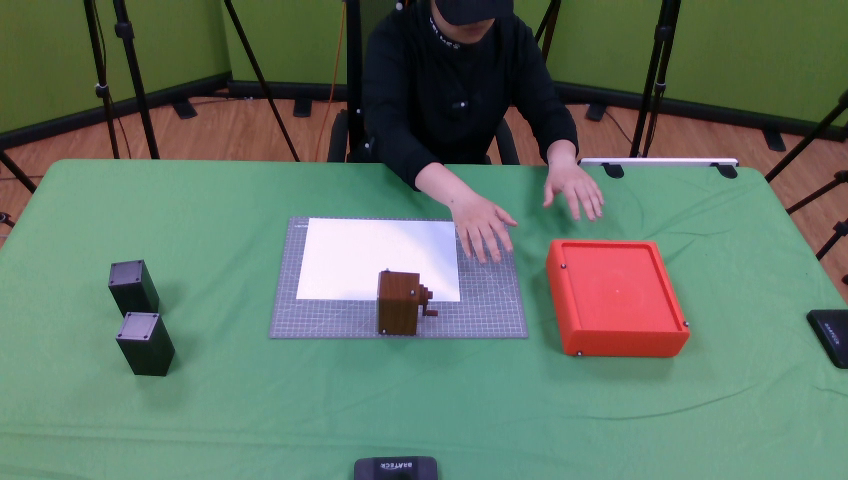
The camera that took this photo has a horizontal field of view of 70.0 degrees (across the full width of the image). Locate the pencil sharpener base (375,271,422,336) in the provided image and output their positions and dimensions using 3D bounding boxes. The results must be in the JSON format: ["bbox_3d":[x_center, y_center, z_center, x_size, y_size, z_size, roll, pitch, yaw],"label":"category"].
[{"bbox_3d":[-0.043,0.109,1.025,0.077,0.107,0.061,3,45,-2],"label":"pencil sharpener base"}]

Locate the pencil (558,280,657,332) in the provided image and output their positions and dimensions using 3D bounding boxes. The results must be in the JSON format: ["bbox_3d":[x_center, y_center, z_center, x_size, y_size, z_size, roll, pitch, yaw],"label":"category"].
[{"bbox_3d":[0.334,0.121,1.105,0.193,0.012,0.012,27,49,14],"label":"pencil"}]

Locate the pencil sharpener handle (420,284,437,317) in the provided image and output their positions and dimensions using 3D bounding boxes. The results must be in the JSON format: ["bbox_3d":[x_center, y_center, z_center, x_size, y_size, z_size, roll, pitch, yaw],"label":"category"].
[{"bbox_3d":[0.009,0.104,1.017,0.030,0.068,0.036,3,39,-2],"label":"pencil sharpener handle"}]

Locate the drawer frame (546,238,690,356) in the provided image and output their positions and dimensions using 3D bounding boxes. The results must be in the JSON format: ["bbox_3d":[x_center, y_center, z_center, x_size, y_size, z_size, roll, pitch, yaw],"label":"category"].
[{"bbox_3d":[0.337,0.098,1.084,0.202,0.083,0.212,1,46,-4],"label":"drawer frame"}]

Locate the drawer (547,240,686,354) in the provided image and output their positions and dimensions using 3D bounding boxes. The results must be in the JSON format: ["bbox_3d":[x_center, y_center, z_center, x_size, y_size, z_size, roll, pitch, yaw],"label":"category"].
[{"bbox_3d":[0.336,0.098,1.087,0.194,0.073,0.210,2,46,-3],"label":"drawer"}]
